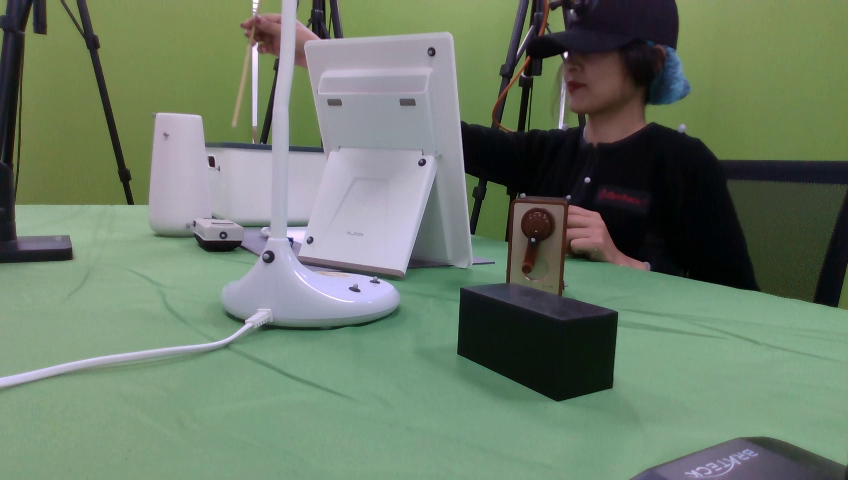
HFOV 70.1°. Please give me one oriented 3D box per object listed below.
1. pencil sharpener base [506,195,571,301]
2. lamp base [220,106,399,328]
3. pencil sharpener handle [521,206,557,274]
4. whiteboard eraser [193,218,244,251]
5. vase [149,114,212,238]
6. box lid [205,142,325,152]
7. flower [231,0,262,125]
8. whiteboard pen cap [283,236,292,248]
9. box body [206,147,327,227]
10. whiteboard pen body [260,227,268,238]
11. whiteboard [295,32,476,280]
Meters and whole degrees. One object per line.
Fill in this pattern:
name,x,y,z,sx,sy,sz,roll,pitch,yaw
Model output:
pencil sharpener base,0.126,0.007,0.662,0.061,0.107,0.077,4,8,13
lamp base,-0.102,-0.023,0.531,0.160,0.180,0.179,4,10,10
pencil sharpener handle,0.112,0.000,0.611,0.036,0.067,0.031,13,10,11
whiteboard eraser,-0.307,-0.010,0.900,0.056,0.042,0.112,-4,10,-28
vase,-0.405,-0.106,1.005,0.098,0.200,0.098,2,6,0
box lid,-0.270,-0.196,1.311,0.373,0.015,0.262,-2,9,-30
flower,-0.284,-0.363,1.016,0.044,0.361,0.038,-2,-15,45
whiteboard pen cap,-0.211,0.003,0.913,0.018,0.018,0.033,-2,6,-28
box body,-0.276,-0.122,1.320,0.366,0.160,0.253,-2,9,-30
whiteboard pen body,-0.239,-0.005,0.965,0.017,0.017,0.140,-2,9,-28
whiteboard,-0.076,-0.084,0.747,0.216,0.305,0.144,7,28,29
